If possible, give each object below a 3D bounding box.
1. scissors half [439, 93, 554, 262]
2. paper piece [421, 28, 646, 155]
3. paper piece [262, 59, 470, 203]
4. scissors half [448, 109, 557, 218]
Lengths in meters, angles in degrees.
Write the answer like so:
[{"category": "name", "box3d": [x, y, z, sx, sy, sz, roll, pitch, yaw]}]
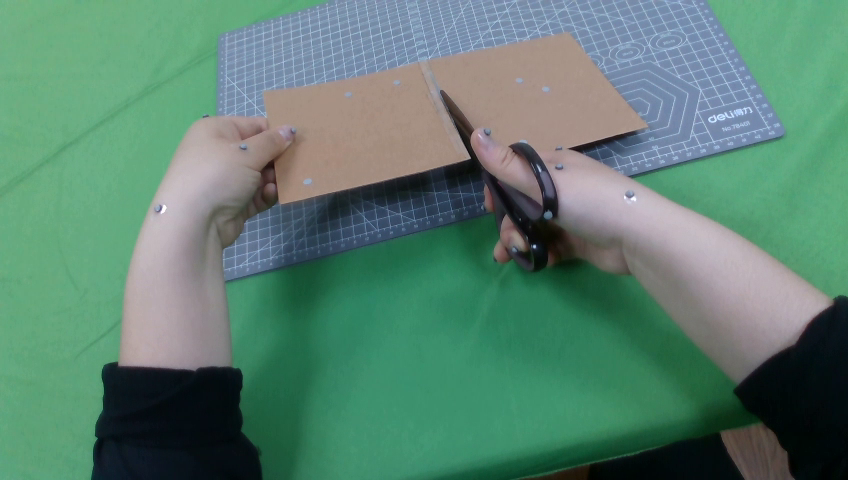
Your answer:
[{"category": "scissors half", "box3d": [0.044, -0.051, 0.428, 0.013, 0.040, 0.173, -20, 57, -10]}, {"category": "paper piece", "box3d": [0.082, -0.122, 0.479, 0.135, 0.004, 0.134, -14, 54, -13]}, {"category": "paper piece", "box3d": [-0.050, -0.089, 0.455, 0.138, 0.009, 0.134, -15, 44, -4]}, {"category": "scissors half", "box3d": [0.042, -0.066, 0.413, 0.013, 0.040, 0.173, -17, 34, -14]}]
